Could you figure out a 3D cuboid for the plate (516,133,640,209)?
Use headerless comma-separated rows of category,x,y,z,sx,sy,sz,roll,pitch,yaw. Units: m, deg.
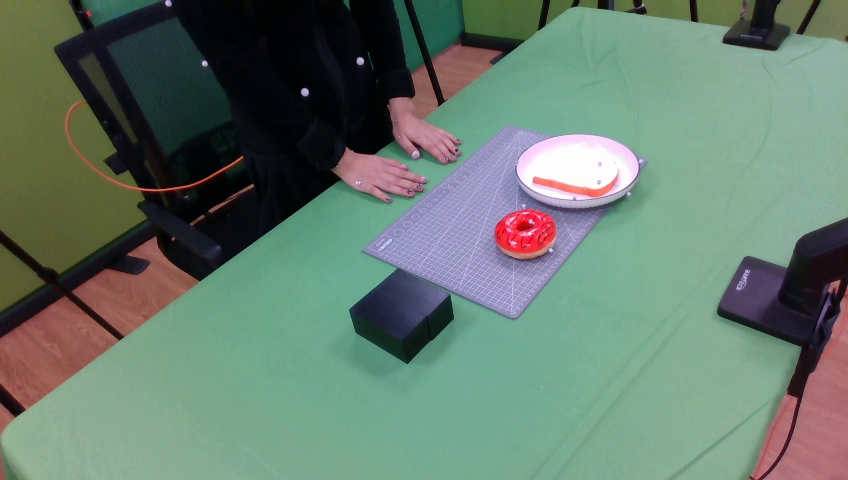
plate,0.266,-0.117,1.055,0.209,0.038,0.208,-5,40,5

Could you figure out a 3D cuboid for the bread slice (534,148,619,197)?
bread slice,0.274,-0.119,1.057,0.130,0.019,0.105,19,48,30

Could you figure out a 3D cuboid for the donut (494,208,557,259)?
donut,0.159,-0.011,0.945,0.099,0.048,0.098,-7,41,6
